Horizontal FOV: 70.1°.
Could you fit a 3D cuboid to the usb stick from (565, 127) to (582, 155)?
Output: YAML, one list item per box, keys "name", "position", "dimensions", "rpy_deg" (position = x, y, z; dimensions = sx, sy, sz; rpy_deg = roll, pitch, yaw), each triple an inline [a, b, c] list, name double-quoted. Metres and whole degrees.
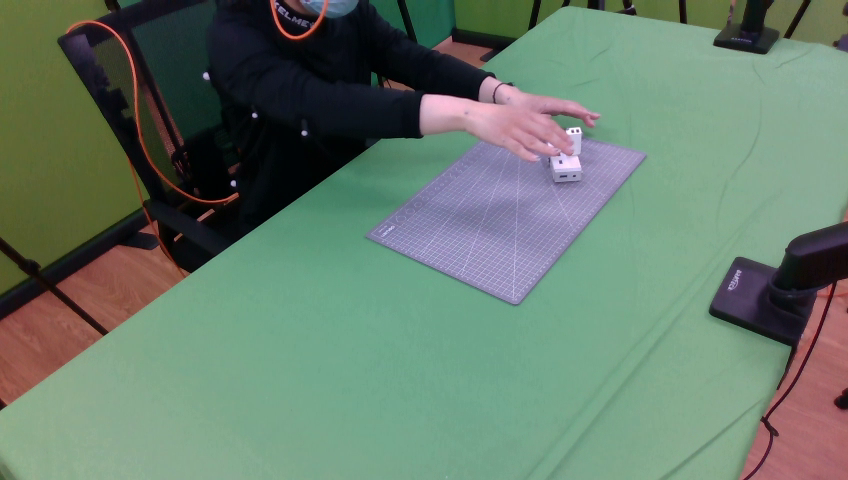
- name: "usb stick"
  position: [0.266, -0.170, 1.077]
  dimensions: [0.027, 0.059, 0.021]
  rpy_deg: [-3, 41, 2]

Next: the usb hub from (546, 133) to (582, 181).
- name: "usb hub"
  position: [0.255, -0.153, 1.103]
  dimensions: [0.049, 0.025, 0.124]
  rpy_deg: [-2, 41, 4]
